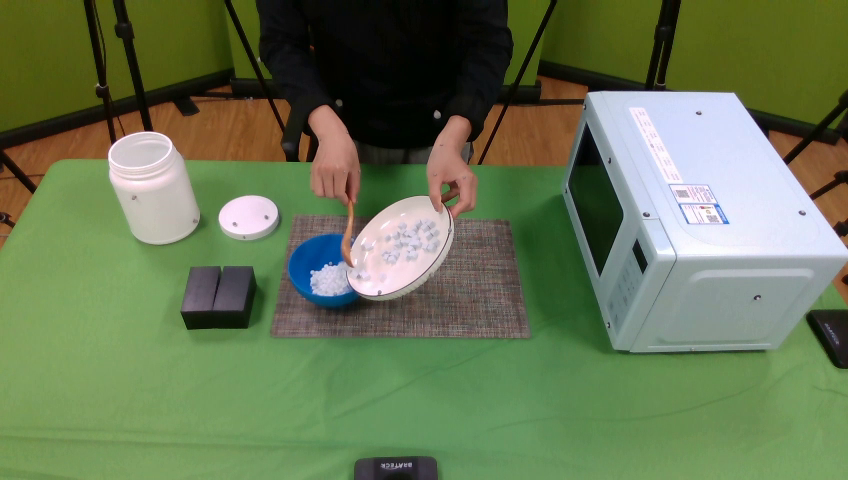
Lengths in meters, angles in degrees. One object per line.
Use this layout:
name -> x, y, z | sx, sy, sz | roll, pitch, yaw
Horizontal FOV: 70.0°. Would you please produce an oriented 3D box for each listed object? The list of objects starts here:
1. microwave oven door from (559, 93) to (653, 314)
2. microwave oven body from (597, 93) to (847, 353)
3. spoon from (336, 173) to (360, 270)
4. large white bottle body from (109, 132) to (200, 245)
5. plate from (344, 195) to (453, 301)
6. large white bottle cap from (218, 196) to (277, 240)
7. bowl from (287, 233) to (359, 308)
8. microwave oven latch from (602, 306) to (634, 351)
microwave oven door -> 0.327, -0.075, 1.123 | 0.039, 0.245, 0.353 | -1, 46, -5
microwave oven body -> 0.475, -0.041, 1.109 | 0.326, 0.261, 0.438 | -1, 45, -4
spoon -> -0.134, -0.035, 1.053 | 0.042, 0.022, 0.192 | 0, 66, -13
large white bottle body -> -0.506, -0.097, 1.141 | 0.131, 0.185, 0.130 | 2, 46, -2
plate -> -0.039, 0.016, 1.007 | 0.209, 0.038, 0.208 | -23, 42, 23
large white bottle cap -> -0.354, -0.045, 1.220 | 0.115, 0.018, 0.114 | 2, 46, -2
bowl -> -0.165, 0.068, 1.078 | 0.151, 0.077, 0.150 | 3, 45, -2
microwave oven latch -> 0.332, 0.153, 1.044 | 0.030, 0.029, 0.078 | 0, 45, -4
